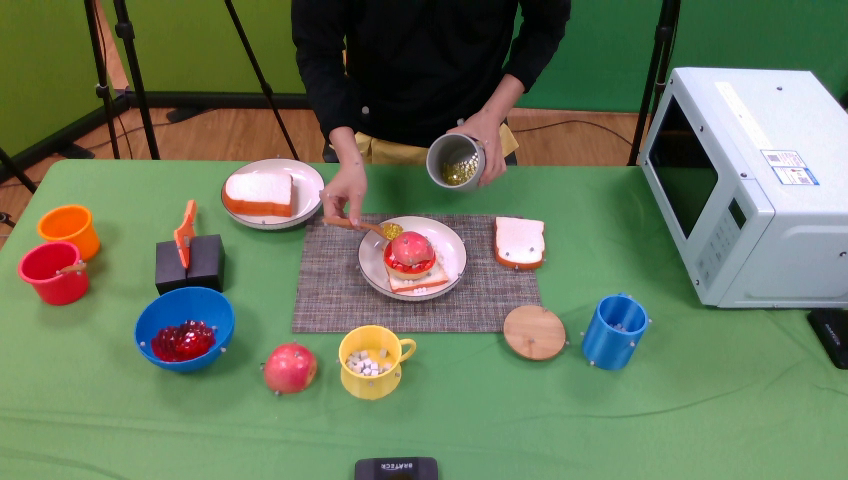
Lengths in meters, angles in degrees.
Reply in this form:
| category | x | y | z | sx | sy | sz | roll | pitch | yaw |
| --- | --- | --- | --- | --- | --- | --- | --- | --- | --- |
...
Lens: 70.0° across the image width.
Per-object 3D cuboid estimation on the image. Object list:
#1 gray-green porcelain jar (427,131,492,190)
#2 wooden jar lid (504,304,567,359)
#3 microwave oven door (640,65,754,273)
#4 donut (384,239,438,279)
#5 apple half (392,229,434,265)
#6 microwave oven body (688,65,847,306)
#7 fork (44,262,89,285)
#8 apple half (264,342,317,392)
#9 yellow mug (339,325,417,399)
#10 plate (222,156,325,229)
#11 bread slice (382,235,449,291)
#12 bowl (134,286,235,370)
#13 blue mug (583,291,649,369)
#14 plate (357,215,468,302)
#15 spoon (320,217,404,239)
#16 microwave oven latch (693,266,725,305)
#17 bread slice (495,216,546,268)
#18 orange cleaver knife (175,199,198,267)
| category | x | y | z | sx | sy | sz | roll | pitch | yaw |
| --- | --- | --- | --- | --- | --- | --- | --- | --- | --- |
| gray-green porcelain jar | 0.074 | -0.152 | 1.187 | 0.105 | 0.106 | 0.127 | 22 | 8 | 16 |
| wooden jar lid | 0.192 | 0.161 | 1.051 | 0.108 | 0.021 | 0.107 | 3 | 50 | -3 |
| microwave oven door | 0.523 | -0.147 | 1.193 | 0.039 | 0.245 | 0.353 | 0 | 47 | -3 |
| donut | -0.024 | 0.029 | 1.109 | 0.099 | 0.048 | 0.098 | 2 | 46 | -2 |
| apple half | -0.021 | 0.005 | 1.083 | 0.081 | 0.033 | 0.081 | 7 | 48 | -7 |
| microwave oven body | 0.669 | -0.111 | 1.176 | 0.326 | 0.261 | 0.439 | 0 | 46 | -3 |
| fork | -0.598 | 0.054 | 1.014 | 0.207 | 0.019 | 0.028 | -15 | 28 | 45 |
| apple half | -0.214 | 0.198 | 0.970 | 0.074 | 0.053 | 0.080 | 19 | 48 | 11 |
| yellow mug | -0.072 | 0.190 | 0.978 | 0.131 | 0.064 | 0.099 | -17 | 50 | -20 |
| plate | -0.308 | -0.095 | 1.251 | 0.209 | 0.038 | 0.208 | 2 | 47 | -2 |
| bread slice | -0.026 | 0.038 | 1.139 | 0.107 | 0.018 | 0.133 | -12 | 47 | -15 |
| bowl | -0.377 | 0.155 | 0.981 | 0.151 | 0.077 | 0.150 | 2 | 46 | -2 |
| blue mug | 0.324 | 0.142 | 1.023 | 0.082 | 0.106 | 0.116 | 15 | 47 | 11 |
| plate | -0.022 | 0.037 | 1.141 | 0.208 | 0.039 | 0.206 | 2 | 46 | -2 |
| spoon | -0.107 | -0.028 | 1.094 | 0.194 | 0.021 | 0.041 | 10 | 57 | -49 |
| microwave oven latch | 0.523 | 0.082 | 1.115 | 0.030 | 0.029 | 0.078 | 3 | 46 | 0 |
| bread slice | 0.194 | 0.002 | 1.204 | 0.105 | 0.019 | 0.131 | 5 | 45 | 2 |
| orange cleaver knife | -0.438 | -0.017 | 1.138 | 0.012 | 0.077 | 0.210 | -14 | 27 | -7 |
